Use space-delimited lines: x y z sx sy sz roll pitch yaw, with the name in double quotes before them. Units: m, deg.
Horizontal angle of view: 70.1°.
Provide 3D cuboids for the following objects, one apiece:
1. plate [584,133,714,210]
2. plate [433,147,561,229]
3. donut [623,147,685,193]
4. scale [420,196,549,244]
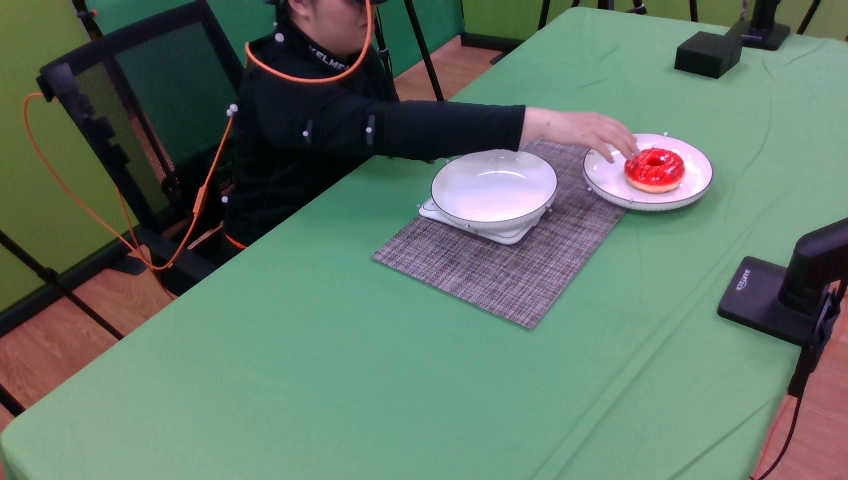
"plate" 0.379 -0.113 1.030 0.209 0.038 0.208 -4 41 4
"plate" 0.120 -0.082 0.996 0.207 0.039 0.206 -6 40 5
"donut" 0.388 -0.119 1.019 0.099 0.048 0.098 -4 42 5
"scale" 0.106 -0.064 1.029 0.199 0.032 0.149 21 48 32
